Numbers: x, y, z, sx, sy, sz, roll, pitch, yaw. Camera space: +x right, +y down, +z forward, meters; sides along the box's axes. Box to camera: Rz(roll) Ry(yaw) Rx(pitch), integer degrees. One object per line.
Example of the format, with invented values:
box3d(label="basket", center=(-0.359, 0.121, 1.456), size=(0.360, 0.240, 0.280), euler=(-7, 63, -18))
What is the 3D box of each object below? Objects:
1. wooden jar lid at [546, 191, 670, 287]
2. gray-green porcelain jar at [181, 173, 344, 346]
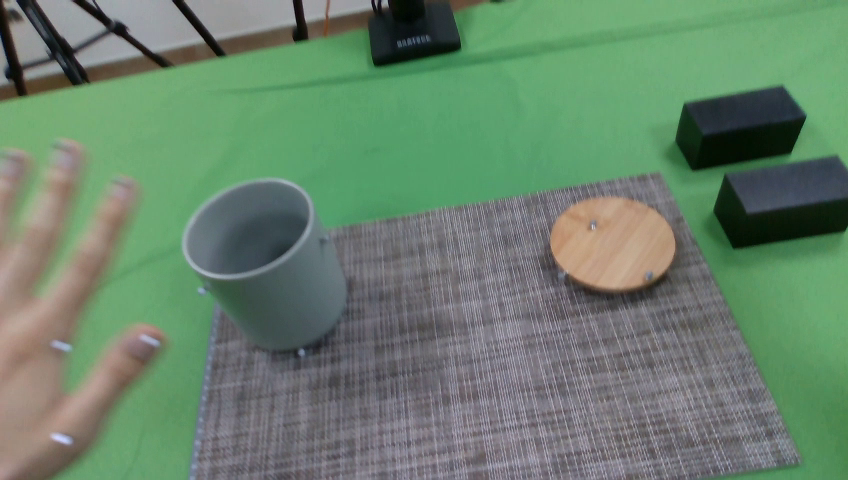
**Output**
box3d(label="wooden jar lid", center=(0.167, 0.000, 0.554), size=(0.108, 0.021, 0.107), euler=(-5, 53, 7))
box3d(label="gray-green porcelain jar", center=(-0.130, 0.023, 0.522), size=(0.106, 0.128, 0.105), euler=(-5, 51, 6))
